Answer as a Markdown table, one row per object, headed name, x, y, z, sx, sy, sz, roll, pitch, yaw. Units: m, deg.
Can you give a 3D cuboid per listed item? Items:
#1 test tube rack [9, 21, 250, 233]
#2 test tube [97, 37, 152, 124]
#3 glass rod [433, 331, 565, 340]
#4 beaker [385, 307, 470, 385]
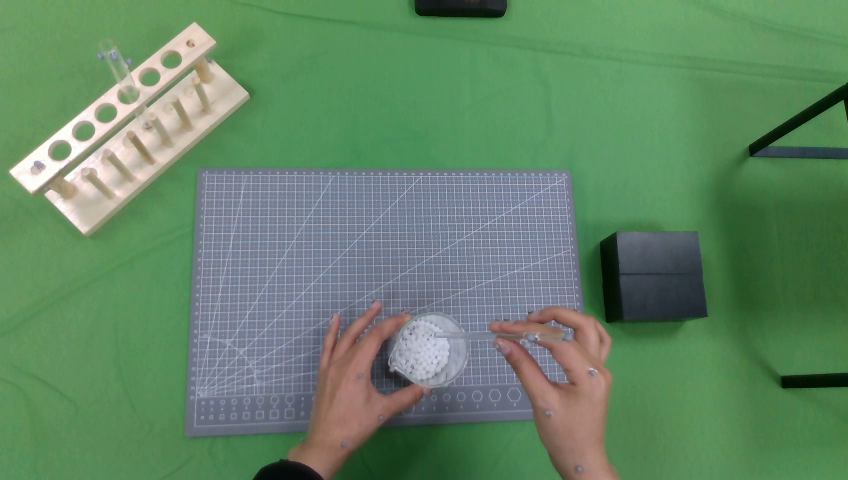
| name | x | y | z | sx | sy | sz | roll | pitch | yaw |
| --- | --- | --- | --- | --- | --- | --- | --- | --- | --- |
| test tube rack | -0.312 | -0.122 | 0.667 | 0.066 | 0.085 | 0.242 | 43 | 76 | 5 |
| test tube | -0.304 | -0.159 | 0.625 | 0.017 | 0.150 | 0.017 | 3 | 72 | -10 |
| glass rod | 0.055 | 0.082 | 0.518 | 0.008 | 0.199 | 0.008 | 4 | 80 | -26 |
| beaker | -0.004 | 0.114 | 0.638 | 0.084 | 0.100 | 0.074 | -16 | 83 | -13 |
